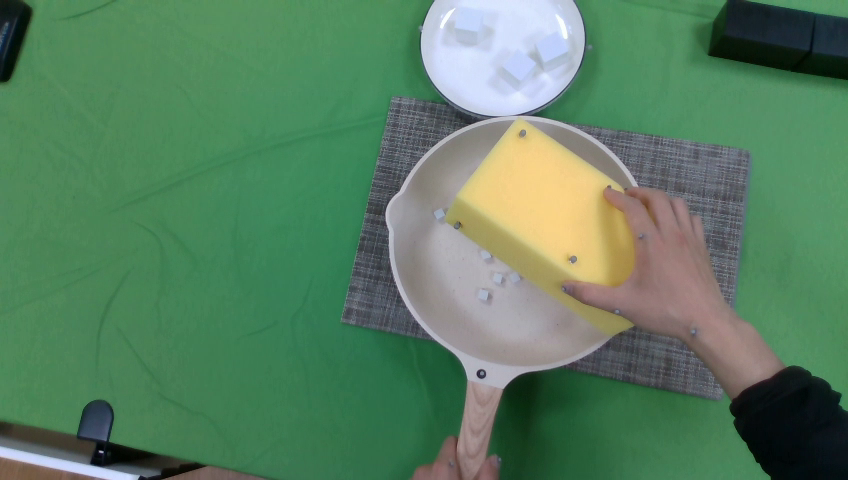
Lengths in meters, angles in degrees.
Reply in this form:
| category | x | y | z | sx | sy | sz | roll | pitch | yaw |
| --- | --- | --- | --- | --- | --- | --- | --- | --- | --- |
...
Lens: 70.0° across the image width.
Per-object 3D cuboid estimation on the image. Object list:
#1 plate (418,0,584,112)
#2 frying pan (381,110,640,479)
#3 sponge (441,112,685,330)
| category | x | y | z | sx | sy | sz | roll | pitch | yaw |
| --- | --- | --- | --- | --- | --- | --- | --- | --- | --- |
| plate | 0.096 | -0.256 | 0.772 | 0.207 | 0.039 | 0.207 | -1 | 80 | 5 |
| frying pan | 0.076 | 0.093 | 0.671 | 0.306 | 0.103 | 0.485 | 14 | 72 | 8 |
| sponge | 0.137 | -0.020 | 0.607 | 0.206 | 0.061 | 0.118 | 34 | 67 | 4 |
